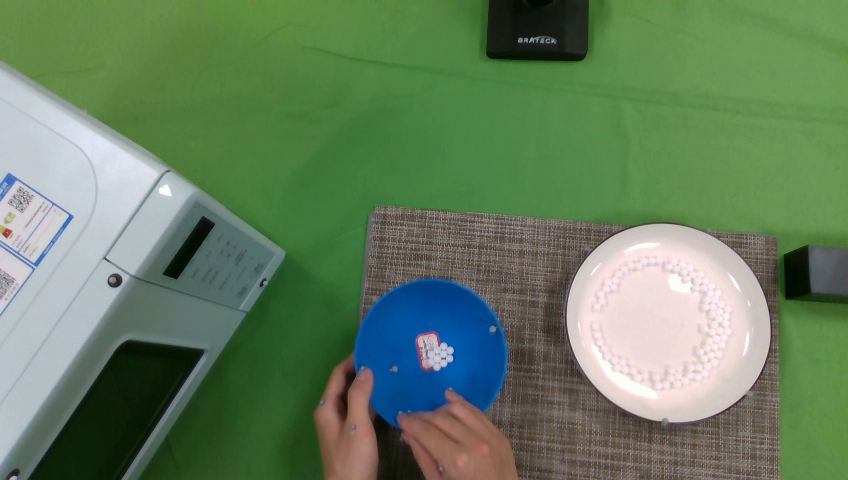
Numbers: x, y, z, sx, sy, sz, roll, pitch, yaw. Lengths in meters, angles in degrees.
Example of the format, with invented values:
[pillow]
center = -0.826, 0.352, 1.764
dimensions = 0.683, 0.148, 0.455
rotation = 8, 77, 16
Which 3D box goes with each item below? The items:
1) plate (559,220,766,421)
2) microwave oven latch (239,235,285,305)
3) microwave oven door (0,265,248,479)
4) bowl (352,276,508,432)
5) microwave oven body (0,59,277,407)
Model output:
[plate]
center = 0.246, 0.084, 0.639
dimensions = 0.207, 0.039, 0.206
rotation = -1, 78, 3
[microwave oven latch]
center = -0.184, 0.031, 0.661
dimensions = 0.030, 0.029, 0.079
rotation = 32, 82, 9
[microwave oven door]
center = -0.307, 0.192, 0.529
dimensions = 0.039, 0.245, 0.355
rotation = 30, 81, 10
[bowl]
center = 0.005, 0.115, 0.622
dimensions = 0.151, 0.077, 0.151
rotation = 0, 81, -1
[microwave oven body]
center = -0.409, 0.085, 0.563
dimensions = 0.325, 0.261, 0.441
rotation = 30, 82, 9
